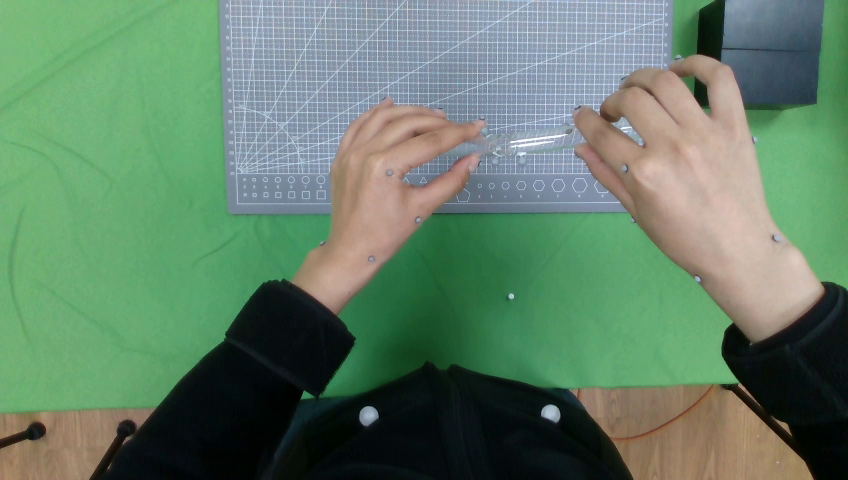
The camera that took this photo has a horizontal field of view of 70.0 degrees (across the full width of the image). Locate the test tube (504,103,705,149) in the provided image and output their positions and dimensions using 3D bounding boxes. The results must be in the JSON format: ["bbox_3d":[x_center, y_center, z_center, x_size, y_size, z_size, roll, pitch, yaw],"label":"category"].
[{"bbox_3d":[0.128,-0.080,0.420,0.151,0.017,0.017,-9,97,-12],"label":"test tube"}]

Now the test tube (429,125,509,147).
[{"bbox_3d":[0.031,-0.082,0.480,0.017,0.149,0.017,-3,99,-16],"label":"test tube"}]
